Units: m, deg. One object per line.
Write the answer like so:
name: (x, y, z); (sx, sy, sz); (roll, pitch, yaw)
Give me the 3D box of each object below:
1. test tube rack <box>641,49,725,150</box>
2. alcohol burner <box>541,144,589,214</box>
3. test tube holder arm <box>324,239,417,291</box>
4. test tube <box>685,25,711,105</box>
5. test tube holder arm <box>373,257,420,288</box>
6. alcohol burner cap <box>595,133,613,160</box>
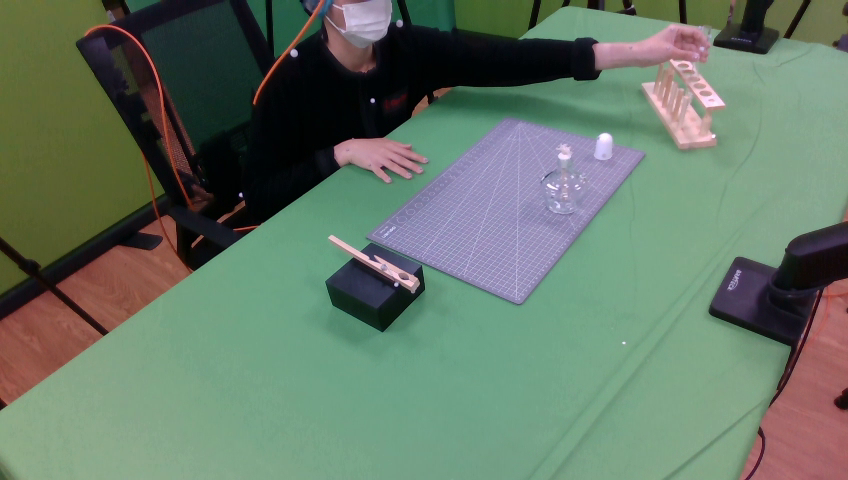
test tube rack: (0.495, -0.279, 1.175); (0.067, 0.085, 0.241); (-5, 41, 3)
alcohol burner: (0.229, -0.102, 0.983); (0.078, 0.119, 0.077); (-6, 41, 5)
test tube holder arm: (-0.081, 0.034, 0.874); (0.177, 0.015, 0.013); (22, 47, 31)
test tube: (0.504, -0.321, 1.117); (0.017, 0.151, 0.017); (-1, 38, 2)
test tube holder arm: (-0.042, 0.046, 0.854); (0.087, 0.015, 0.010); (24, 48, 32)
alcohol burner cap: (0.330, -0.172, 1.104); (0.034, 0.048, 0.033); (-5, 41, 5)
